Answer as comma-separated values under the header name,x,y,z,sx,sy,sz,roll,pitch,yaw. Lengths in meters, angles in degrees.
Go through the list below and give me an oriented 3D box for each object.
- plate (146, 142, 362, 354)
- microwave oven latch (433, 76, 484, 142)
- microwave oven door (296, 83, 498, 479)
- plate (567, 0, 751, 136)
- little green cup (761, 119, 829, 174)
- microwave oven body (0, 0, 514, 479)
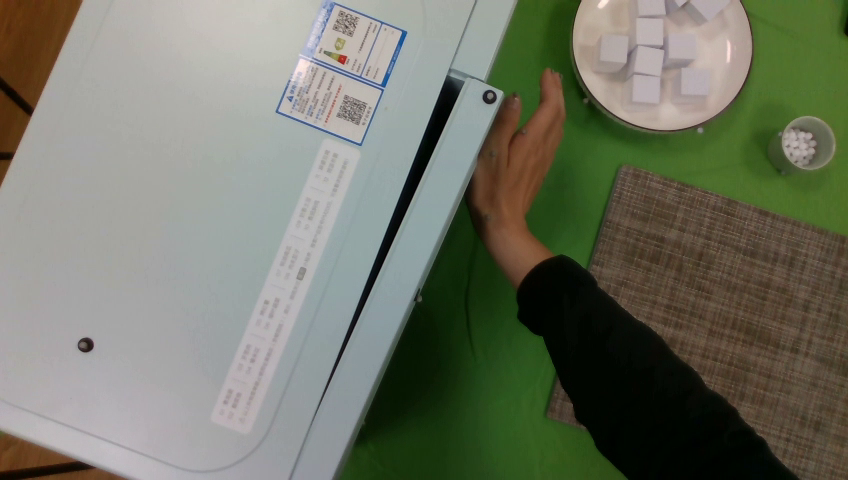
name,x,y,z,sx,sy,sz,roll,pitch,yaw
plate,-0.165,0.008,0.605,0.209,0.038,0.208,0,86,-2
microwave oven latch,0.038,-0.145,0.665,0.030,0.029,0.079,28,86,0
microwave oven door,-0.031,0.057,0.548,0.039,0.244,0.355,23,85,1
plate,0.265,-0.218,0.697,0.208,0.039,0.207,0,86,-2
little green cup,0.422,-0.105,0.694,0.061,0.038,0.061,0,85,-1
microwave oven body,-0.160,-0.039,0.555,0.326,0.260,0.441,21,86,-1
